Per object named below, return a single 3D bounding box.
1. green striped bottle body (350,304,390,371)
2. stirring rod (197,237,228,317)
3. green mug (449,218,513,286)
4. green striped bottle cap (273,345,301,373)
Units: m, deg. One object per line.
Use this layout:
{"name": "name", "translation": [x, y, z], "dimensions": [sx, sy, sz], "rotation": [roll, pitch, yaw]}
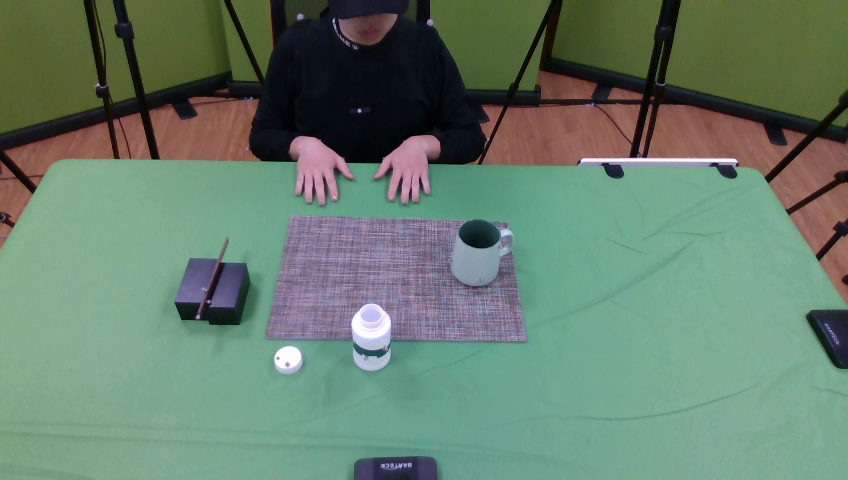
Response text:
{"name": "green striped bottle body", "translation": [-0.086, 0.154, 0.976], "dimensions": [0.063, 0.120, 0.063], "rotation": [2, 46, -2]}
{"name": "stirring rod", "translation": [-0.364, 0.060, 1.047], "dimensions": [0.006, 0.014, 0.175], "rotation": [7, 46, -4]}
{"name": "green mug", "translation": [0.110, 0.018, 1.126], "dimensions": [0.125, 0.105, 0.092], "rotation": [-19, 50, -21]}
{"name": "green striped bottle cap", "translation": [-0.225, 0.195, 0.997], "dimensions": [0.044, 0.020, 0.044], "rotation": [1, 50, -1]}
